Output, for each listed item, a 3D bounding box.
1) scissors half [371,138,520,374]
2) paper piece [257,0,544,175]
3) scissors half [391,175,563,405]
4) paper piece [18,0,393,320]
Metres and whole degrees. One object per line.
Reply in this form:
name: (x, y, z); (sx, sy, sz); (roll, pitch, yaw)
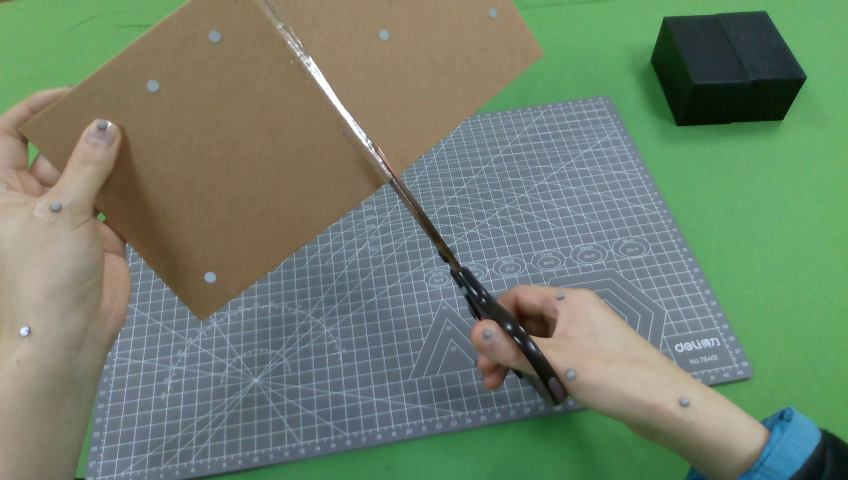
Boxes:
scissors half: (0.017, 0.013, 0.356); (0.013, 0.177, 0.039); (-35, 25, -3)
paper piece: (-0.010, -0.129, 0.344); (0.135, 0.004, 0.136); (-41, 106, -16)
scissors half: (0.019, 0.014, 0.331); (0.013, 0.040, 0.174); (-35, 76, -8)
paper piece: (-0.112, -0.047, 0.325); (0.138, 0.008, 0.136); (-37, 103, -1)
